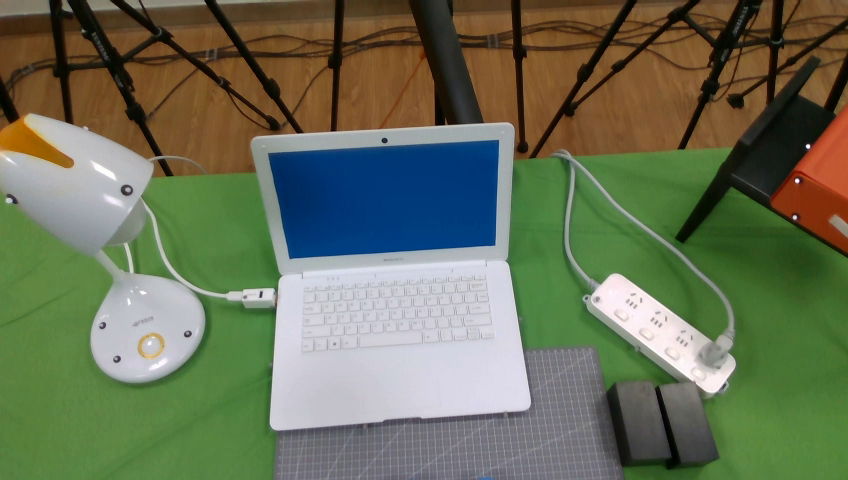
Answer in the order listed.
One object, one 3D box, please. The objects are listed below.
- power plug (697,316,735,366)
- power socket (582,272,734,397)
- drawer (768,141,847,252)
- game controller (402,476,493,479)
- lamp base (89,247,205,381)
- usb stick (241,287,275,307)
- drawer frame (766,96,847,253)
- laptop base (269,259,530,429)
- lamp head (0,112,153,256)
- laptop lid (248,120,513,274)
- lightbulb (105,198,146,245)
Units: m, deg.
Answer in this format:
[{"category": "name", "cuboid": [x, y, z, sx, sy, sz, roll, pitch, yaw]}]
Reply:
[{"category": "power plug", "cuboid": [0.408, 0.146, 0.834, 0.072, 0.053, 0.035, -32, 63, -19]}, {"category": "power socket", "cuboid": [0.334, 0.132, 0.870, 0.225, 0.033, 0.072, 40, 67, 21]}, {"category": "drawer", "cuboid": [0.576, -0.072, 0.752, 0.193, 0.074, 0.211, 38, 66, 21]}, {"category": "game controller", "cuboid": [0.029, 0.339, 0.737, 0.155, 0.052, 0.096, -1, 54, -1]}, {"category": "lamp base", "cuboid": [-0.408, 0.078, 0.815, 0.160, 0.182, 0.177, -31, 61, -17]}, {"category": "usb stick", "cuboid": [-0.237, 0.085, 0.893, 0.059, 0.027, 0.021, 1, 54, -3]}, {"category": "drawer frame", "cuboid": [0.578, -0.076, 0.753, 0.200, 0.083, 0.213, 38, 66, 21]}, {"category": "laptop base", "cuboid": [-0.039, 0.143, 0.873, 0.354, 0.023, 0.233, -4, 62, -2]}, {"category": "lamp head", "cuboid": [-0.340, -0.060, 0.568, 0.124, 0.112, 0.111, 35, 56, -29]}, {"category": "laptop lid", "cuboid": [-0.052, -0.053, 0.865, 0.357, 0.244, 0.013, -5, 35, -2]}, {"category": "lightbulb", "cuboid": [-0.317, -0.040, 0.577, 0.059, 0.109, 0.059, -26, 37, 22]}]
